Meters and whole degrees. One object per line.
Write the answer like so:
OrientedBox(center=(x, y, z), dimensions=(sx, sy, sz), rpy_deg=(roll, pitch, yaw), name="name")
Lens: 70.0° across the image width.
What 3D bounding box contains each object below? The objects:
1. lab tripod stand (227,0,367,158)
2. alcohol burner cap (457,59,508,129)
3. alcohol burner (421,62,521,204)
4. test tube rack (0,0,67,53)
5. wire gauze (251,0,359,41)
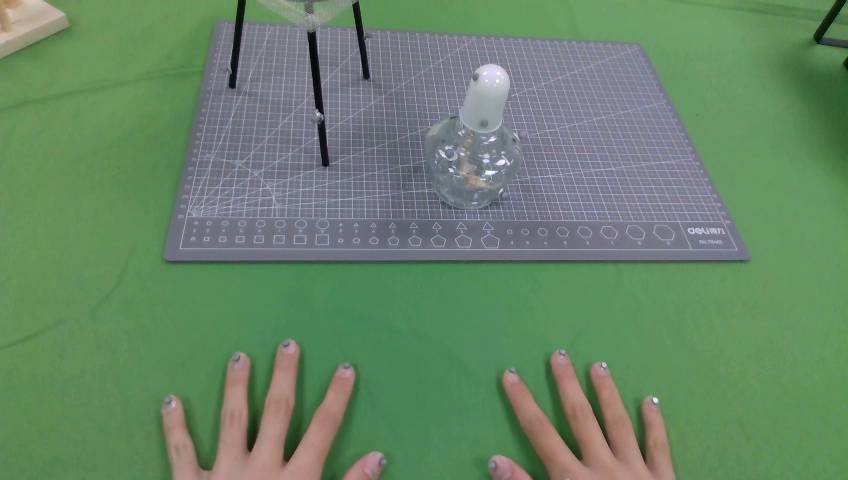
OrientedBox(center=(-0.095, -0.161, 0.484), dimensions=(0.149, 0.132, 0.147), rpy_deg=(5, 52, -7), name="lab tripod stand")
OrientedBox(center=(0.044, -0.105, 0.428), dimensions=(0.034, 0.048, 0.033), rpy_deg=(4, 56, -6), name="alcohol burner cap")
OrientedBox(center=(0.039, -0.084, 0.457), dimensions=(0.078, 0.120, 0.077), rpy_deg=(5, 50, -6), name="alcohol burner")
OrientedBox(center=(-0.424, -0.174, 0.478), dimensions=(0.066, 0.086, 0.241), rpy_deg=(31, 54, 15), name="test tube rack")
OrientedBox(center=(-0.090, -0.202, 0.433), dimensions=(0.124, 0.011, 0.121), rpy_deg=(34, 57, 12), name="wire gauze")
